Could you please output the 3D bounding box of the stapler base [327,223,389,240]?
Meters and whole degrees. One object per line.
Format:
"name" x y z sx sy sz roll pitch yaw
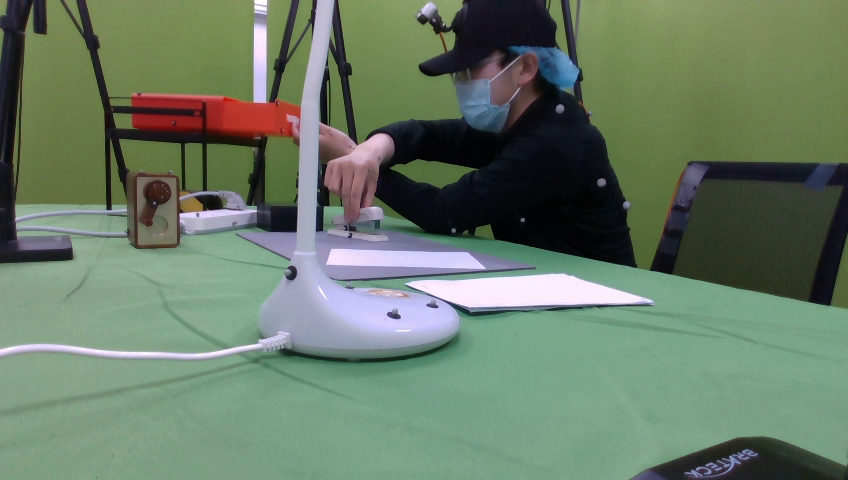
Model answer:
"stapler base" -0.117 -0.018 1.073 0.130 0.024 0.041 7 7 41

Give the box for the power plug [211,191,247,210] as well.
"power plug" -0.386 -0.071 1.205 0.072 0.052 0.035 7 9 27

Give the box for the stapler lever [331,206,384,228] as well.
"stapler lever" -0.118 -0.043 1.070 0.117 0.040 0.027 7 7 41

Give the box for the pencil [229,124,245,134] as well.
"pencil" -0.417 -0.249 1.353 0.012 0.012 0.193 -2 5 -26

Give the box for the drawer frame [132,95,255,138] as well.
"drawer frame" -0.506 -0.280 1.378 0.213 0.082 0.202 3 8 7

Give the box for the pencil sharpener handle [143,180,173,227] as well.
"pencil sharpener handle" -0.371 -0.050 0.840 0.036 0.067 0.030 24 -6 -34

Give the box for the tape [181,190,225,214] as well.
"tape" -0.515 -0.087 1.388 0.117 0.052 0.117 3 7 0

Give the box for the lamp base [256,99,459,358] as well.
"lamp base" -0.055 -0.013 0.463 0.160 0.180 0.180 6 11 27

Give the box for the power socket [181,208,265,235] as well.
"power socket" -0.381 -0.038 1.129 0.072 0.032 0.227 4 8 17

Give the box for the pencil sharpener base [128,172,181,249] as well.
"pencil sharpener base" -0.395 -0.044 0.887 0.062 0.107 0.076 -2 9 -34

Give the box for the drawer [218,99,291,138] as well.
"drawer" -0.389 -0.271 1.362 0.211 0.073 0.195 2 7 9
